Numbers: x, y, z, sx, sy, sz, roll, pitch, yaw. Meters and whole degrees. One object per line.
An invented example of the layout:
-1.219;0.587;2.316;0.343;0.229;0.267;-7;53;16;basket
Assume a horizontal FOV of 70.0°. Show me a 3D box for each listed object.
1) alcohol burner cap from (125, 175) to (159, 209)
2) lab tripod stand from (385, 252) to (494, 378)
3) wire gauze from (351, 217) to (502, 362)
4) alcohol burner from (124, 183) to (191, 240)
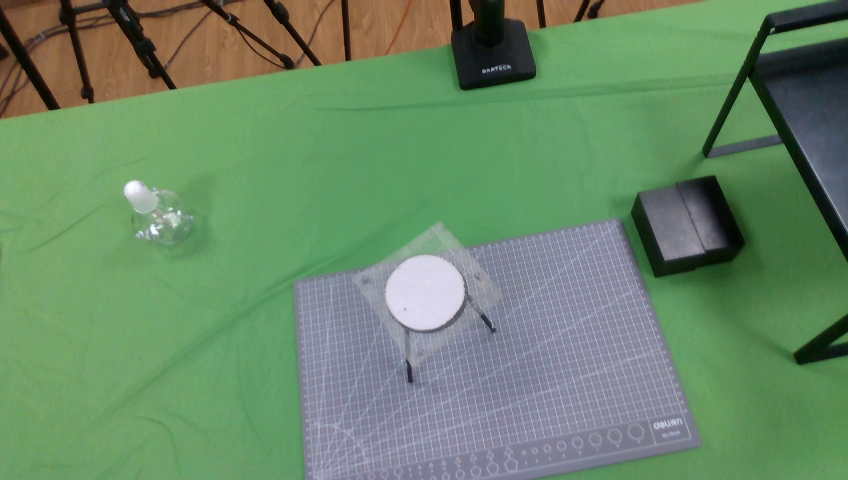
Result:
-0.373;-0.066;0.794;0.034;0.048;0.033;1;64;-1;alcohol burner cap
0.006;0.080;0.709;0.148;0.132;0.147;-3;63;7;lab tripod stand
0.001;0.047;0.649;0.121;0.011;0.124;-33;64;-10;wire gauze
-0.369;-0.049;0.826;0.078;0.120;0.077;-2;64;4;alcohol burner
